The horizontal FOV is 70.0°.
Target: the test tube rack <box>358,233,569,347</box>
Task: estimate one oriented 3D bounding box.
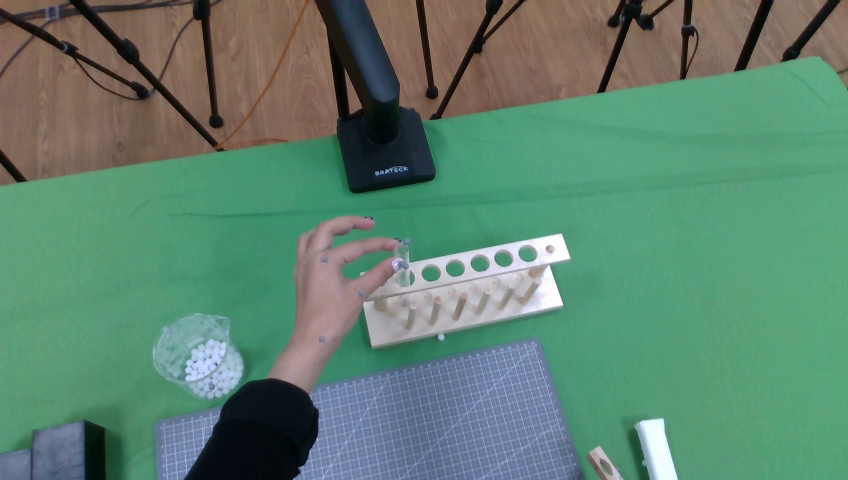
[{"bbox_3d":[0.049,0.060,0.719,0.243,0.086,0.066,-11,66,-9],"label":"test tube rack"}]

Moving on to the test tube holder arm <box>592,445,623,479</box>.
[{"bbox_3d":[0.226,0.287,0.612,0.013,0.015,0.176,-29,59,-15],"label":"test tube holder arm"}]

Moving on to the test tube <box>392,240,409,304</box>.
[{"bbox_3d":[-0.025,0.039,0.668,0.017,0.151,0.017,0,64,-1],"label":"test tube"}]

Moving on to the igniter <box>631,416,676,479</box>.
[{"bbox_3d":[0.271,0.329,0.642,0.057,0.025,0.274,-1,65,-15],"label":"igniter"}]

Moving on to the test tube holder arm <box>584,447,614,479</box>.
[{"bbox_3d":[0.198,0.258,0.633,0.010,0.015,0.087,-27,59,-14],"label":"test tube holder arm"}]

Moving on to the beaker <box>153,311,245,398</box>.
[{"bbox_3d":[-0.237,0.126,0.658,0.073,0.101,0.084,40,68,14],"label":"beaker"}]
